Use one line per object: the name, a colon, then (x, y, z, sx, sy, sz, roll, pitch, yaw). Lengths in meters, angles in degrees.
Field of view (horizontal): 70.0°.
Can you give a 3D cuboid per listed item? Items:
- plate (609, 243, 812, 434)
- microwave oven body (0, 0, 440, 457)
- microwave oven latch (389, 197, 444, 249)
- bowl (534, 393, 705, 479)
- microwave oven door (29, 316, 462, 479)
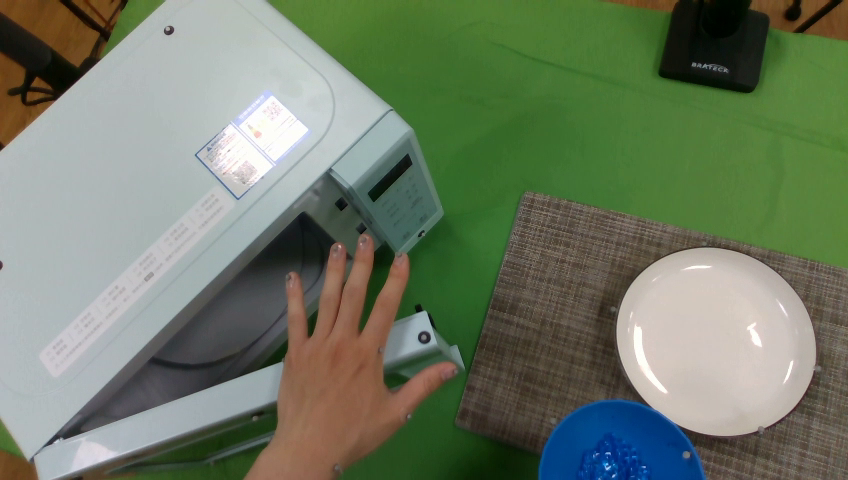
plate: (0.311, 0.107, 0.673, 0.207, 0.039, 0.206, -2, 74, 8)
microwave oven body: (-0.253, -0.024, 0.681, 0.324, 0.262, 0.441, 43, 85, 17)
microwave oven latch: (-0.011, -0.027, 0.746, 0.079, 0.030, 0.030, -44, 73, -4)
bowl: (0.178, 0.226, 0.582, 0.151, 0.077, 0.150, -1, 72, 4)
microwave oven door: (-0.145, 0.160, 0.606, 0.356, 0.245, 0.039, -20, 71, 2)
